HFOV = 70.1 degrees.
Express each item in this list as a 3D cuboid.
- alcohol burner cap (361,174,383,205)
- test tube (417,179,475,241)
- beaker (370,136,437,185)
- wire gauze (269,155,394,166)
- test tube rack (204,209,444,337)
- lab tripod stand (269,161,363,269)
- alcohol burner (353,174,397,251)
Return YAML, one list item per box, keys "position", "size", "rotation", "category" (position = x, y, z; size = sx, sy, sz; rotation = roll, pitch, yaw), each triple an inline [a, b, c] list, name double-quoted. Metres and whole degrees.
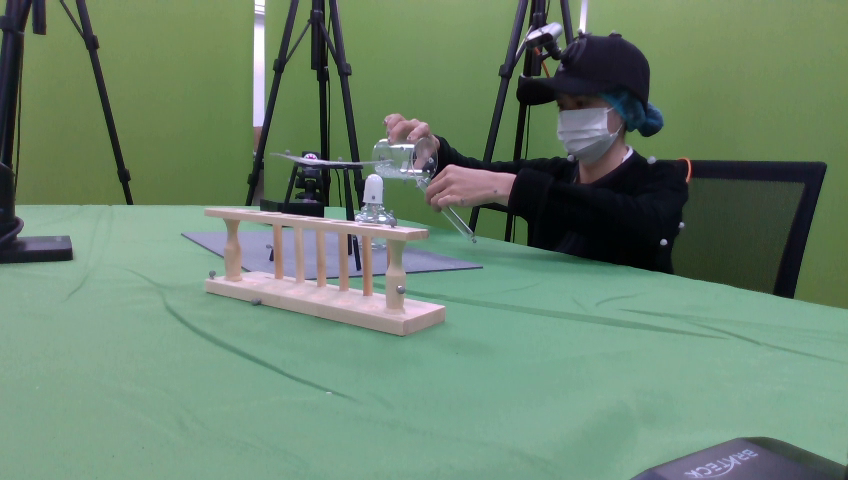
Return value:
- position: [-0.080, -0.078, 0.944]
  size: [0.034, 0.048, 0.034]
  rotation: [5, 8, 0]
  category: "alcohol burner cap"
- position: [0.035, -0.050, 0.998]
  size: [0.017, 0.017, 0.149]
  rotation: [-5, 45, -46]
  category: "test tube"
- position: [-0.038, -0.140, 1.061]
  size: [0.100, 0.084, 0.074]
  rotation: [7, 0, 37]
  category: "beaker"
- position: [-0.121, -0.102, 0.785]
  size: [0.122, 0.011, 0.124]
  rotation: [-3, 10, -39]
  category: "wire gauze"
- position: [-0.100, 0.021, 0.565]
  size: [0.241, 0.085, 0.067]
  rotation: [7, 9, 32]
  category: "test tube rack"
- position: [-0.125, -0.036, 0.794]
  size: [0.148, 0.131, 0.148]
  rotation: [5, 7, 0]
  category: "lab tripod stand"
- position: [-0.082, -0.043, 0.950]
  size: [0.078, 0.119, 0.078]
  rotation: [1, 8, 0]
  category: "alcohol burner"
